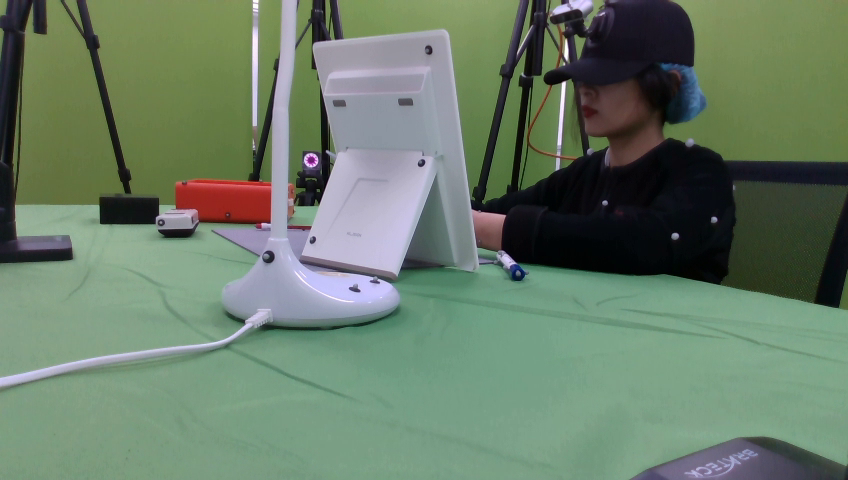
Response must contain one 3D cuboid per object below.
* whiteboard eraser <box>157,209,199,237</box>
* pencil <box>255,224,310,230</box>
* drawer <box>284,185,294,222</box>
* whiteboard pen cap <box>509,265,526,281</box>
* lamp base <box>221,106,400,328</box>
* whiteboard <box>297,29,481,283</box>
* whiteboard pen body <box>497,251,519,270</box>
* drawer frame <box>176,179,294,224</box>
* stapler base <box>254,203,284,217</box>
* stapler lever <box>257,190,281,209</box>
[{"bbox_3d":[-0.411,-0.029,1.016,0.056,0.042,0.112,2,7,-16],"label":"whiteboard eraser"},{"bbox_3d":[-0.216,-0.023,1.134,0.195,0.012,0.012,1,7,-21],"label":"pencil"},{"bbox_3d":[-0.390,-0.084,1.301,0.212,0.073,0.194,1,8,-8],"label":"drawer"},{"bbox_3d":[0.116,0.040,0.752,0.018,0.018,0.033,2,10,-1],"label":"whiteboard pen cap"},{"bbox_3d":[-0.101,-0.023,0.531,0.160,0.180,0.179,4,10,10],"label":"lamp base"},{"bbox_3d":[-0.075,-0.082,0.741,0.216,0.305,0.144,9,29,37],"label":"whiteboard"},{"bbox_3d":[0.116,0.032,0.810,0.017,0.017,0.140,2,8,-2],"label":"whiteboard pen body"},{"bbox_3d":[-0.395,-0.085,1.299,0.214,0.082,0.201,1,8,-9],"label":"drawer frame"},{"bbox_3d":[-0.334,-0.068,1.307,0.041,0.024,0.130,5,6,-2],"label":"stapler base"},{"bbox_3d":[-0.333,-0.091,1.305,0.027,0.040,0.118,5,9,-2],"label":"stapler lever"}]
